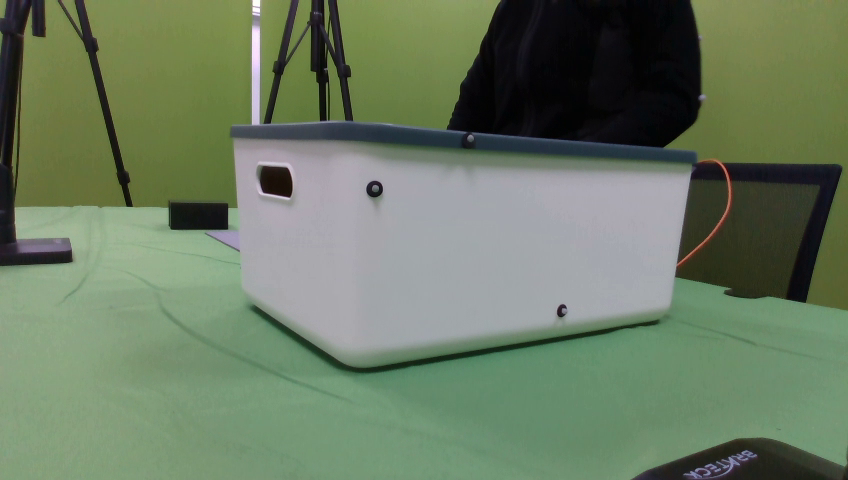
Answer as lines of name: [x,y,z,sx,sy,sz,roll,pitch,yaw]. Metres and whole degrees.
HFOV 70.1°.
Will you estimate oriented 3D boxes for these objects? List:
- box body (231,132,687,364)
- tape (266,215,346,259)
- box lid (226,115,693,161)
box body: [0.031,-0.013,0.563,0.366,0.160,0.253,-3,8,-33]
tape: [-0.168,-0.006,0.872,0.117,0.052,0.117,3,7,0]
box lid: [0.031,-0.086,0.554,0.373,0.015,0.262,-2,8,-33]
